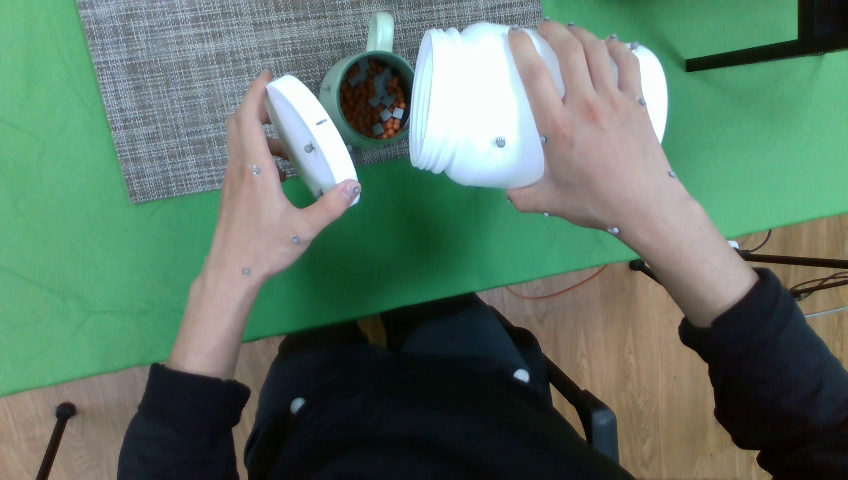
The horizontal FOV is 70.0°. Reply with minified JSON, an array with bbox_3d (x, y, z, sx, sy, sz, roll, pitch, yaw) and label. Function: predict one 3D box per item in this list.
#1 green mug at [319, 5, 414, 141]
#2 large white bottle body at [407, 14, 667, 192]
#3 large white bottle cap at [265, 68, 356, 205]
[{"bbox_3d":[-0.049,-0.157,0.574,0.093,0.104,0.125,5,99,-15],"label":"green mug"},{"bbox_3d":[0.085,-0.112,0.500,0.185,0.130,0.131,4,100,-10],"label":"large white bottle body"},{"bbox_3d":[-0.092,-0.082,0.490,0.018,0.114,0.115,-33,107,-18],"label":"large white bottle cap"}]
